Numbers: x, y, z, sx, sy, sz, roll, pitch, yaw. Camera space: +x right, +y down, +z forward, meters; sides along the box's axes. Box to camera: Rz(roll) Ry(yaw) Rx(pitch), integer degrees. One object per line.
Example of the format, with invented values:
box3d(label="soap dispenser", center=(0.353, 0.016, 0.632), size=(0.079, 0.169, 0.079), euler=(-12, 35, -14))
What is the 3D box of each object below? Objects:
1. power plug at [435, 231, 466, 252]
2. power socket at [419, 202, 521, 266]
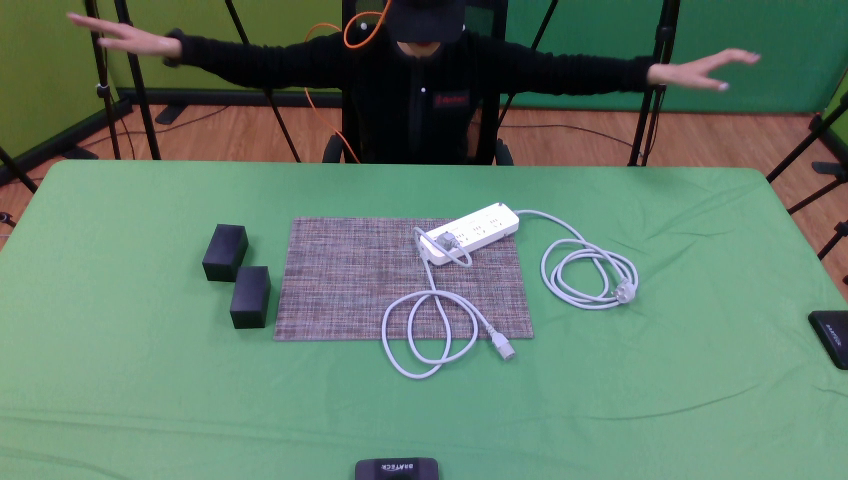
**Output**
box3d(label="power plug", center=(0.047, 0.015, 1.141), size=(0.035, 0.053, 0.072), euler=(-13, 47, -17))
box3d(label="power socket", center=(0.093, -0.014, 1.204), size=(0.227, 0.033, 0.072), euler=(-23, 52, -24))
